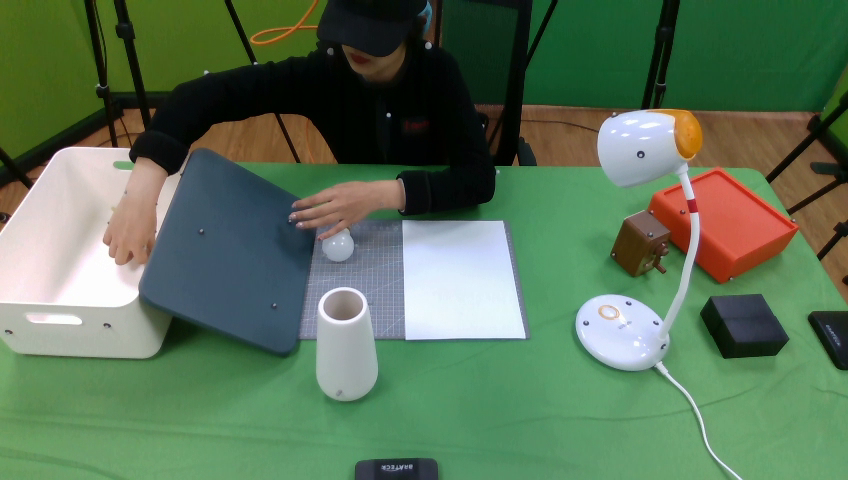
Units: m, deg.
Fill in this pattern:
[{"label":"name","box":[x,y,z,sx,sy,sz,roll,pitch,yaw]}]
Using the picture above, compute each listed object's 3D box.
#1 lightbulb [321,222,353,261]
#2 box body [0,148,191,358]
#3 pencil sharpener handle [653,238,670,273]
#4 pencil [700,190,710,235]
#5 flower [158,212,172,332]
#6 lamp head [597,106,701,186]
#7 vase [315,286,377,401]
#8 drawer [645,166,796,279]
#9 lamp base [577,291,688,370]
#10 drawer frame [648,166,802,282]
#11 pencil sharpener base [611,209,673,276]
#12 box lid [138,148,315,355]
[{"label":"lightbulb","box":[-0.163,-0.002,1.164,0.059,0.060,0.107,4,31,0]},{"label":"box body","box":[-0.545,0.017,1.045,0.254,0.161,0.361,2,46,-2]},{"label":"pencil sharpener handle","box":[0.444,0.030,1.120,0.036,0.068,0.030,-25,52,-18]},{"label":"pencil","box":[0.584,-0.059,1.256,0.012,0.012,0.193,16,34,12]},{"label":"flower","box":[-0.488,0.034,1.119,0.038,0.044,0.359,-3,41,-21]},{"label":"lamp head","box":[0.329,-0.138,0.865,0.112,0.113,0.122,-36,20,-32]},{"label":"vase","box":[-0.119,0.159,0.911,0.098,0.201,0.097,2,47,-2]},{"label":"drawer","box":[0.600,-0.041,1.236,0.195,0.073,0.210,-21,51,-23]},{"label":"lamp base","box":[0.361,0.110,1.003,0.160,0.181,0.178,-31,57,-28]},{"label":"drawer frame","box":[0.603,-0.040,1.233,0.202,0.083,0.212,-21,51,-23]},{"label":"pencil sharpener base","box":[0.416,0.007,1.158,0.061,0.107,0.076,-21,51,-22]},{"label":"box lid","box":[-0.321,0.008,1.063,0.264,0.015,0.369,30,38,-28]}]
